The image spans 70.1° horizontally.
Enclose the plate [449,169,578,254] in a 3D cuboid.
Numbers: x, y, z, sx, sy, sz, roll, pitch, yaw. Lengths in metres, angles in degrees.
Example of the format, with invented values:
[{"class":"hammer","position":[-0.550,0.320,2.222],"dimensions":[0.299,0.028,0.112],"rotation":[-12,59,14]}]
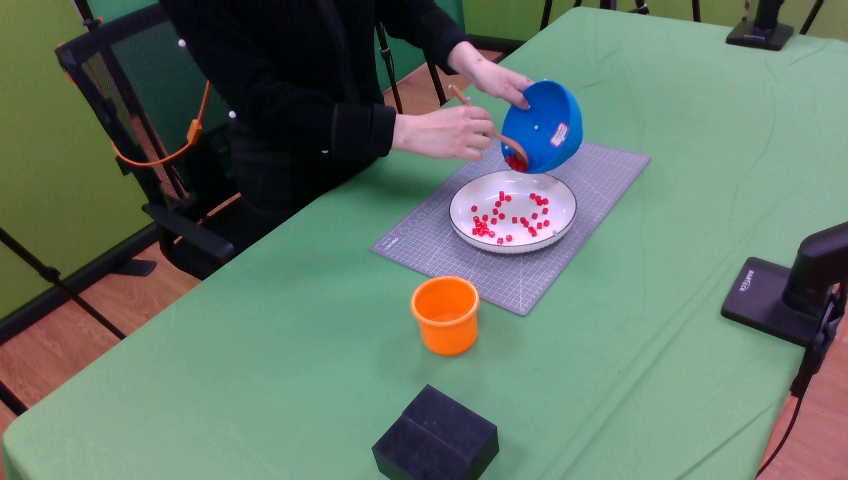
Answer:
[{"class":"plate","position":[0.146,-0.044,0.993],"dimensions":[0.209,0.038,0.208],"rotation":[-5,40,5]}]

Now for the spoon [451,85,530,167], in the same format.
[{"class":"spoon","position":[0.105,-0.173,0.933],"dimensions":[0.021,0.195,0.041],"rotation":[-49,33,12]}]

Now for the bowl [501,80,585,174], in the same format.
[{"class":"bowl","position":[0.205,-0.174,0.979],"dimensions":[0.077,0.151,0.150],"rotation":[10,27,-36]}]
